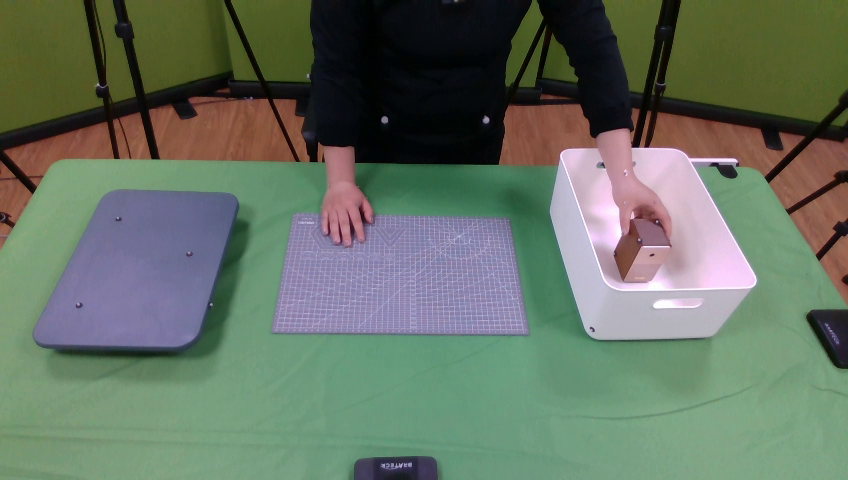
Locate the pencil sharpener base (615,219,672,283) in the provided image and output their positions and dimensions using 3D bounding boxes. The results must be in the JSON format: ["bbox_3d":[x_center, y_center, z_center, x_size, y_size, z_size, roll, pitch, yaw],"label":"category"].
[{"bbox_3d":[0.407,0.020,1.133,0.061,0.107,0.076,-1,46,-4],"label":"pencil sharpener base"}]

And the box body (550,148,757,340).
[{"bbox_3d":[0.395,0.003,1.127,0.254,0.161,0.361,-1,46,-5],"label":"box body"}]

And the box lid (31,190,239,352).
[{"bbox_3d":[-0.491,0.040,1.070,0.263,0.015,0.369,1,46,-3],"label":"box lid"}]

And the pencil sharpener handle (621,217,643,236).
[{"bbox_3d":[0.400,-0.025,1.159,0.036,0.068,0.030,9,44,-15],"label":"pencil sharpener handle"}]
